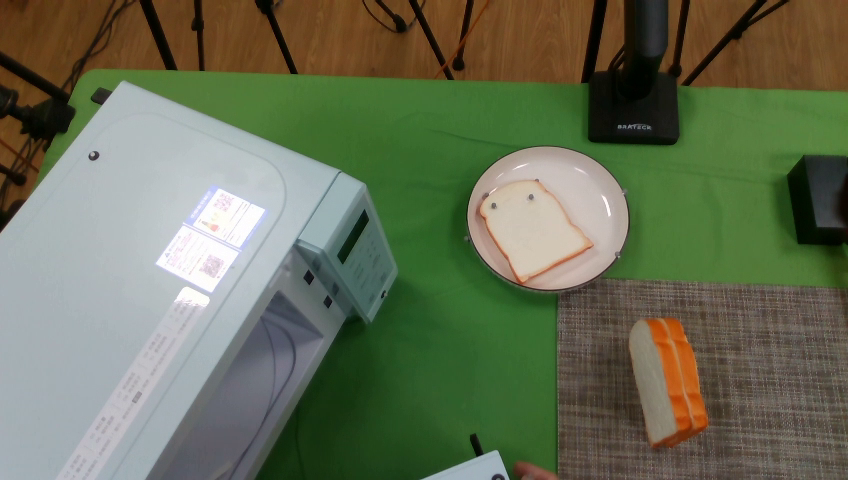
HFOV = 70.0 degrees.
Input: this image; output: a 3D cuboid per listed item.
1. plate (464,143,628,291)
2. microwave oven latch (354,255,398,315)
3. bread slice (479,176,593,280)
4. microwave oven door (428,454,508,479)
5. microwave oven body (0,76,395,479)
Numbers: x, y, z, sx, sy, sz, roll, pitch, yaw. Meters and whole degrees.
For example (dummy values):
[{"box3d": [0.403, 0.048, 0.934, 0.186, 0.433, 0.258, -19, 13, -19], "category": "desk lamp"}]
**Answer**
[{"box3d": [0.156, -0.028, 0.789, 0.207, 0.039, 0.206, -2, 67, 5], "category": "plate"}, {"box3d": [-0.061, 0.053, 0.757, 0.030, 0.030, 0.079, 25, 73, 15], "category": "microwave oven latch"}, {"box3d": [0.134, -0.021, 0.786, 0.107, 0.018, 0.133, -30, 66, -10], "category": "bread slice"}, {"box3d": [-0.091, 0.277, 0.555, 0.356, 0.246, 0.039, -21, 66, -3], "category": "microwave oven door"}, {"box3d": [-0.283, 0.106, 0.651, 0.324, 0.262, 0.440, 24, 72, 14], "category": "microwave oven body"}]
